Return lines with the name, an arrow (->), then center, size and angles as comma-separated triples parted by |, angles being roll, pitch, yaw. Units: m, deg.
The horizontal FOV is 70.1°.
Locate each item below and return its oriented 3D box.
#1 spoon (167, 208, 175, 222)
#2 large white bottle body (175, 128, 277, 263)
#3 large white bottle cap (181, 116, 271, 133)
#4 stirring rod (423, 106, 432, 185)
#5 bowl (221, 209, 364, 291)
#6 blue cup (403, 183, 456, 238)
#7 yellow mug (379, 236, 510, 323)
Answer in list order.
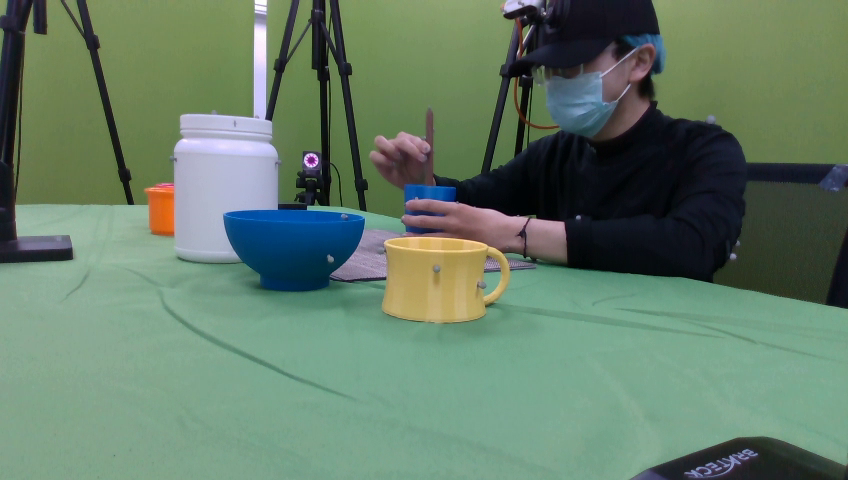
spoon -> -0.447, -0.104, 1.192 | 0.041, 0.022, 0.193 | 7, 52, 14
large white bottle body -> -0.265, -0.068, 0.814 | 0.131, 0.184, 0.130 | 2, 7, 0
large white bottle cap -> -0.262, -0.152, 0.803 | 0.115, 0.018, 0.115 | 2, 7, 0
stirring rod -> 0.006, -0.131, 0.978 | 0.014, 0.176, 0.006 | -7, -9, 41
bowl -> -0.142, 0.011, 0.660 | 0.151, 0.077, 0.151 | 2, 7, 0
blue cup -> 0.006, -0.038, 0.966 | 0.093, 0.100, 0.092 | 4, 7, 0
yellow mug -> 0.024, 0.034, 0.575 | 0.131, 0.064, 0.099 | 1, 7, -22
